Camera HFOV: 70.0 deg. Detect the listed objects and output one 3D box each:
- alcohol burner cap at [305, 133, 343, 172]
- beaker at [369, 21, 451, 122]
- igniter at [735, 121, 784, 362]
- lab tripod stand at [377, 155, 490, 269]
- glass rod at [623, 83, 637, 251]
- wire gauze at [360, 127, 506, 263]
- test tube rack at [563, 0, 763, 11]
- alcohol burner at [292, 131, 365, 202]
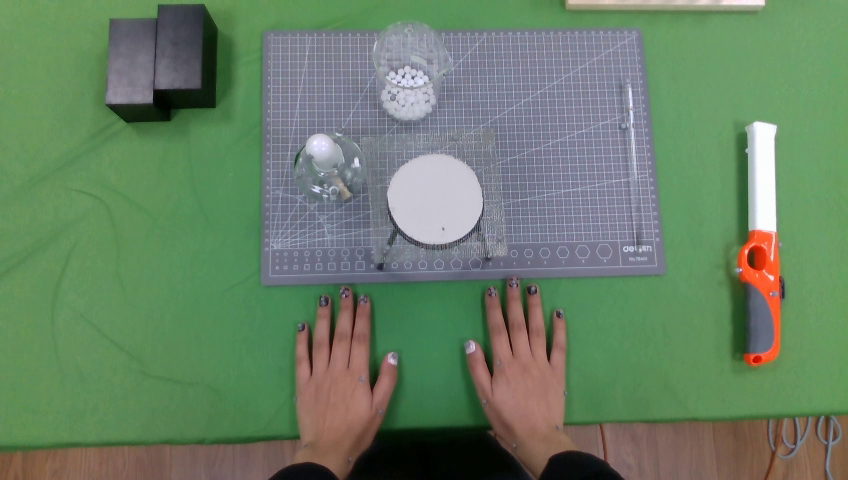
[{"bbox_3d":[-0.100,-0.088,0.594,0.034,0.048,0.034,0,84,4],"label":"alcohol burner cap"},{"bbox_3d":[-0.015,-0.177,0.658,0.084,0.100,0.073,7,80,-1],"label":"beaker"},{"bbox_3d":[0.378,-0.001,0.683,0.057,0.025,0.275,8,80,-11],"label":"igniter"},{"bbox_3d":[0.006,-0.026,0.615,0.148,0.132,0.147,0,79,0],"label":"lab tripod stand"},{"bbox_3d":[0.238,-0.085,0.698,0.008,0.008,0.199,0,83,-3],"label":"glass rod"},{"bbox_3d":[0.008,-0.042,0.549,0.125,0.011,0.121,-4,79,-3],"label":"wire gauze"},{"bbox_3d":[0.292,-0.322,0.707,0.242,0.085,0.066,-1,79,-2],"label":"test tube rack"},{"bbox_3d":[-0.101,-0.082,0.630,0.078,0.119,0.077,0,77,-2],"label":"alcohol burner"}]
